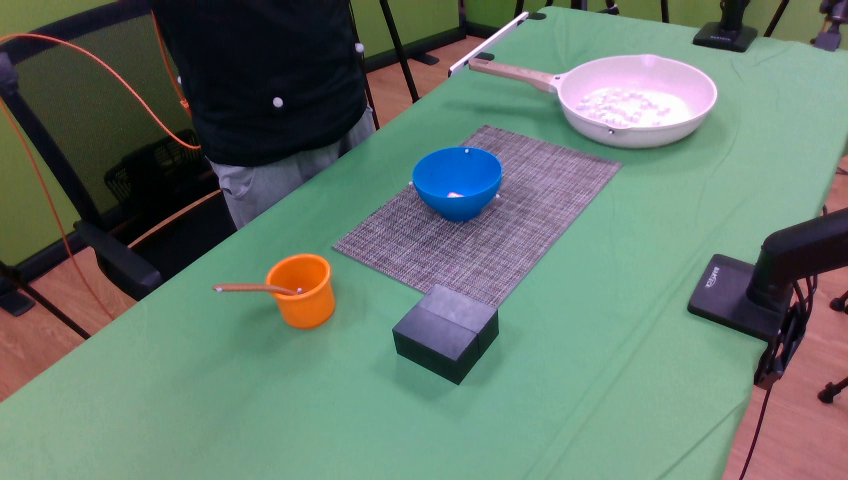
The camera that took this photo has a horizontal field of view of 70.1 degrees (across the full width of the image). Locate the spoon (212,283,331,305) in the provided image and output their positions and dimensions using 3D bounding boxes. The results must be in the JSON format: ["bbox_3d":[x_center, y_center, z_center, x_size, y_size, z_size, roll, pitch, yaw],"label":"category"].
[{"bbox_3d":[-0.201,0.069,0.819,0.041,0.195,0.021,33,99,37],"label":"spoon"}]

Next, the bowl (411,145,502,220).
[{"bbox_3d":[0.057,-0.086,1.010,0.151,0.077,0.150,-4,41,4],"label":"bowl"}]

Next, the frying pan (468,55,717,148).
[{"bbox_3d":[0.316,-0.304,1.213,0.485,0.103,0.307,20,46,17],"label":"frying pan"}]
